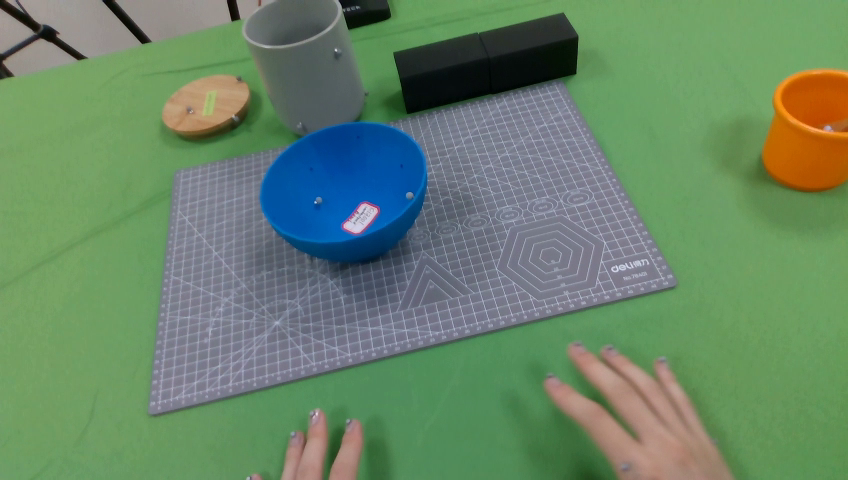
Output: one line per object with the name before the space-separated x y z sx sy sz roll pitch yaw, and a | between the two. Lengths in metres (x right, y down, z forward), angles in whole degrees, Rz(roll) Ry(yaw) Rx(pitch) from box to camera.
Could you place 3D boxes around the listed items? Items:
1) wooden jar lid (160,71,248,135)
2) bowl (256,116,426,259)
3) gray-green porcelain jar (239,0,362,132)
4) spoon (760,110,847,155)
wooden jar lid | -0.266 -0.166 0.739 0.108 0.021 0.107 -4 51 5
bowl | -0.068 -0.036 0.558 0.151 0.077 0.150 -5 51 7
gray-green porcelain jar | -0.129 -0.191 0.665 0.106 0.128 0.105 -5 51 7
spoon | 0.376 -0.110 0.497 0.022 0.193 0.041 42 59 -14
